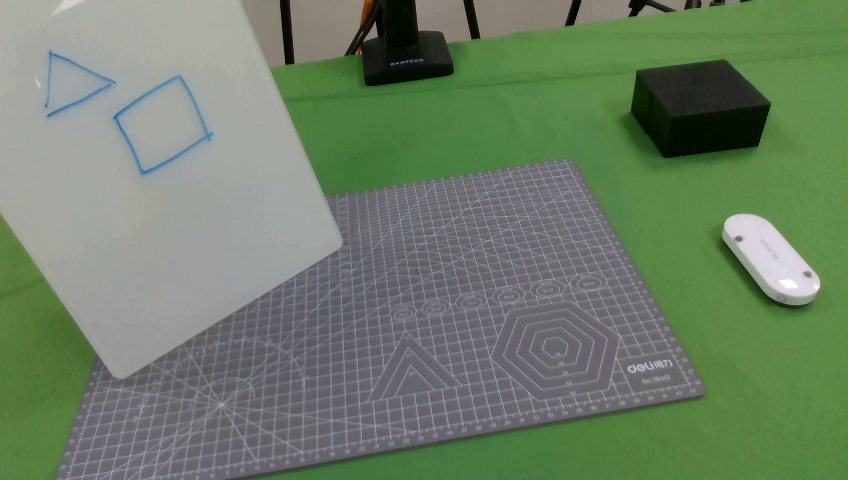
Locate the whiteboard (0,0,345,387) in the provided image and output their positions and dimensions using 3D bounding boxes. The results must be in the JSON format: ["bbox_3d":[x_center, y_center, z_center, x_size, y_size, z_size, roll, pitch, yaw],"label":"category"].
[{"bbox_3d":[-0.239,-0.082,0.500,0.217,0.308,0.142,-33,29,-26],"label":"whiteboard"}]

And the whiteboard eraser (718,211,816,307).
[{"bbox_3d":[0.280,0.012,0.500,0.041,0.019,0.100,-9,43,-3],"label":"whiteboard eraser"}]
